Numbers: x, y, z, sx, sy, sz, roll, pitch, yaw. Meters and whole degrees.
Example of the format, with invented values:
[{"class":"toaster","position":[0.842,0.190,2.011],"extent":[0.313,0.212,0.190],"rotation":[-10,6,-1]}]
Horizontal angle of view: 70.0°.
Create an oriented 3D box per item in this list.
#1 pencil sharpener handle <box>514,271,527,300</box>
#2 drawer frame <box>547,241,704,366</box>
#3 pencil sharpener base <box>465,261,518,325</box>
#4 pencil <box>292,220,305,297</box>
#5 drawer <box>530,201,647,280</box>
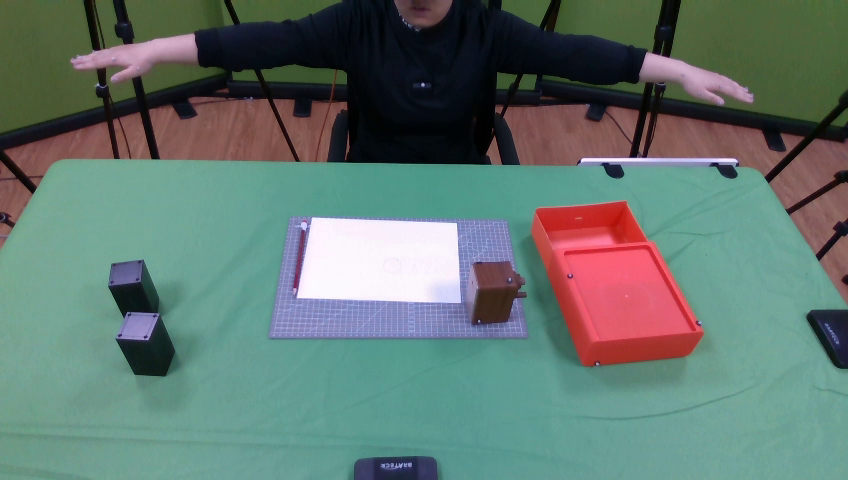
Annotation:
[{"class":"pencil sharpener handle","position":[0.168,0.081,1.051],"extent":[0.031,0.068,0.035],"rotation":[-3,49,-7]},{"class":"drawer frame","position":[0.348,0.106,1.077],"extent":[0.202,0.083,0.212],"rotation":[-4,47,-9]},{"class":"pencil sharpener base","position":[0.117,0.092,1.052],"extent":[0.077,0.107,0.061],"rotation":[-3,46,-7]},{"class":"pencil","position":[-0.240,0.032,1.152],"extent":[0.012,0.012,0.193],"rotation":[1,47,-4]},{"class":"drawer","position":[0.329,0.025,1.159],"extent":[0.195,0.073,0.210],"rotation":[-5,46,-9]}]
